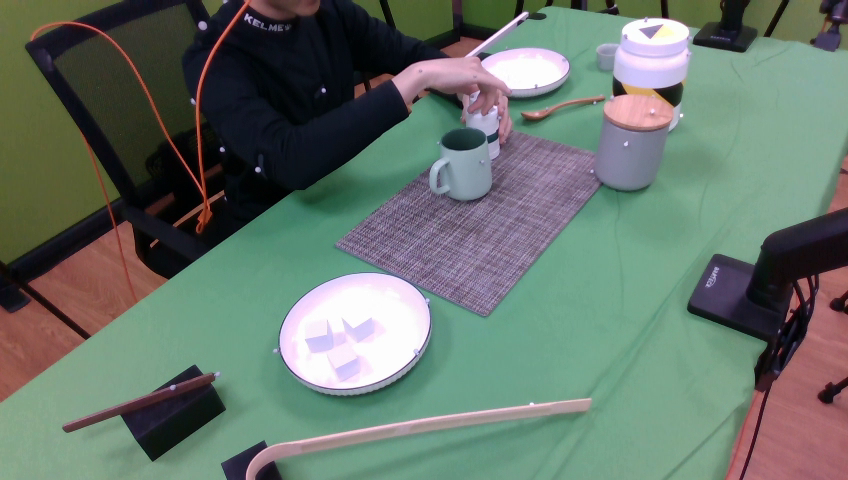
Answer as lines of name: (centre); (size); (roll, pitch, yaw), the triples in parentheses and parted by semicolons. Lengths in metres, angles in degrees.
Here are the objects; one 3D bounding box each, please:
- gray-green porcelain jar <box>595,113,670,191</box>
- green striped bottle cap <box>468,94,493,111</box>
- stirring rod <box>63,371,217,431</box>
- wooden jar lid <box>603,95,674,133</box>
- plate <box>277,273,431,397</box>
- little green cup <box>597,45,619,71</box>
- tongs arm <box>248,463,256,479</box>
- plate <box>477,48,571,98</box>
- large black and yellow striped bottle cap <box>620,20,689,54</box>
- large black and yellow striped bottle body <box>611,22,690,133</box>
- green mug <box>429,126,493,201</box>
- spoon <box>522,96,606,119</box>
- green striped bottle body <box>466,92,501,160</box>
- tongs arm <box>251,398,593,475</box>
gray-green porcelain jar: (0.347, -0.155, 1.017); (0.106, 0.127, 0.105); (-2, 44, 2)
green striped bottle cap: (0.102, -0.248, 1.086); (0.044, 0.020, 0.044); (3, 30, -1)
stirring rod: (-0.337, 0.192, 0.723); (0.177, 0.014, 0.005); (-18, 43, -12)
wooden jar lid: (0.343, -0.200, 0.974); (0.108, 0.021, 0.108); (-2, 39, 2)
plate: (-0.091, 0.129, 0.821); (0.207, 0.039, 0.206); (-4, 40, 4)
little green cup: (0.423, -0.413, 1.376); (0.061, 0.039, 0.061); (-4, 41, 4)
tongs arm: (0.012, 0.262, 0.615); (0.385, 0.026, 0.050); (2, 42, -2)
plate: (0.223, -0.371, 1.357); (0.209, 0.038, 0.208); (-4, 41, 4)
large black and yellow striped bottle cap: (0.411, -0.363, 1.080); (0.115, 0.019, 0.114); (-3, 42, 4)
large black and yellow striped bottle body: (0.420, -0.300, 1.132); (0.131, 0.185, 0.130); (-4, 41, 4)
green mug: (0.059, -0.122, 1.034); (0.126, 0.105, 0.092); (-35, 49, -27)
spoon: (0.291, -0.277, 1.249); (0.194, 0.022, 0.041); (-18, 23, -12)
green striped bottle body: (0.110, -0.212, 1.120); (0.063, 0.120, 0.063); (-4, 40, 4)
tongs arm: (0.008, 0.212, 0.675); (0.389, 0.028, 0.028); (-5, 46, -11)
